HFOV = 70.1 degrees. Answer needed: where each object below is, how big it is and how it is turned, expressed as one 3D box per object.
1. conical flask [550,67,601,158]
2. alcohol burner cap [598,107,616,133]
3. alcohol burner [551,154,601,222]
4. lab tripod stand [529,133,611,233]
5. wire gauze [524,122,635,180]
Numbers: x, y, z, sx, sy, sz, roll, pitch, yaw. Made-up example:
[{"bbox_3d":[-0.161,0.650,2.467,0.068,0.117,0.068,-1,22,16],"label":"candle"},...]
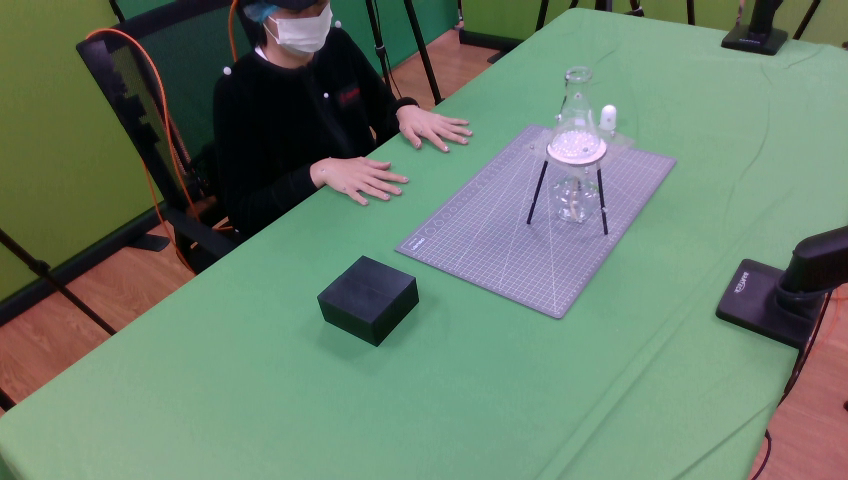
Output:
[{"bbox_3d":[0.221,-0.186,0.875,0.075,0.122,0.075,-5,40,5],"label":"conical flask"},{"bbox_3d":[0.361,-0.239,1.189,0.034,0.048,0.033,-4,40,4],"label":"alcohol burner cap"},{"bbox_3d":[0.244,-0.088,0.966,0.078,0.119,0.077,-3,40,3],"label":"alcohol burner"},{"bbox_3d":[0.236,-0.089,0.953,0.148,0.132,0.147,-5,41,5],"label":"lab tripod stand"},{"bbox_3d":[0.233,-0.142,0.913,0.122,0.011,0.124,-31,43,-26],"label":"wire gauze"}]
